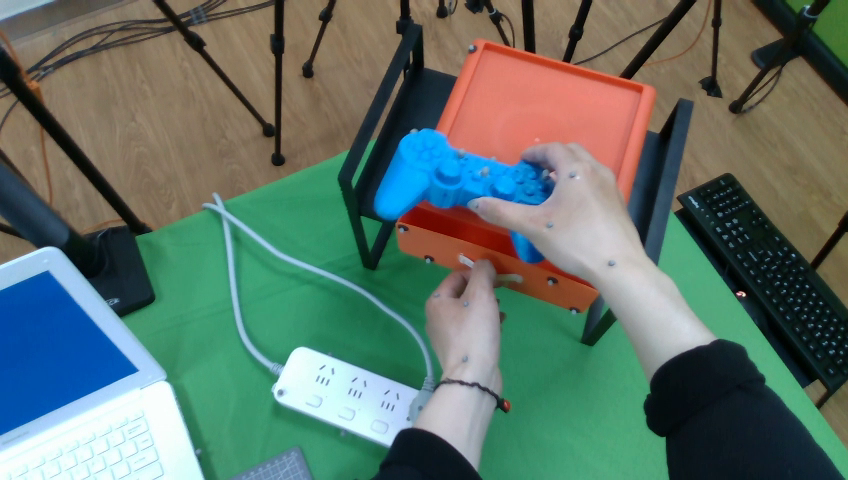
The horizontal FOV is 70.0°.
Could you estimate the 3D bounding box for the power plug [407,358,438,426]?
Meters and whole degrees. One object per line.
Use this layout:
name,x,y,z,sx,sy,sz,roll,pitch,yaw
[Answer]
power plug,0.008,0.181,0.704,0.035,0.053,0.072,28,69,14

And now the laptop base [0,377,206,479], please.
laptop base,-0.415,0.333,0.671,0.354,0.023,0.234,-25,72,-11

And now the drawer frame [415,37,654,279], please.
drawer frame,0.106,-0.081,0.619,0.201,0.083,0.212,18,67,8

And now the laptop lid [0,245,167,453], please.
laptop lid,-0.491,0.156,0.632,0.357,0.244,0.013,-26,44,-10

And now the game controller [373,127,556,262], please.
game controller,0.041,-0.047,0.526,0.155,0.052,0.096,18,50,-2

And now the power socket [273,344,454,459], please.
power socket,-0.073,0.191,0.724,0.226,0.033,0.072,19,68,9

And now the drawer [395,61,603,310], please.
drawer,0.099,-0.059,0.611,0.194,0.074,0.210,19,68,9
